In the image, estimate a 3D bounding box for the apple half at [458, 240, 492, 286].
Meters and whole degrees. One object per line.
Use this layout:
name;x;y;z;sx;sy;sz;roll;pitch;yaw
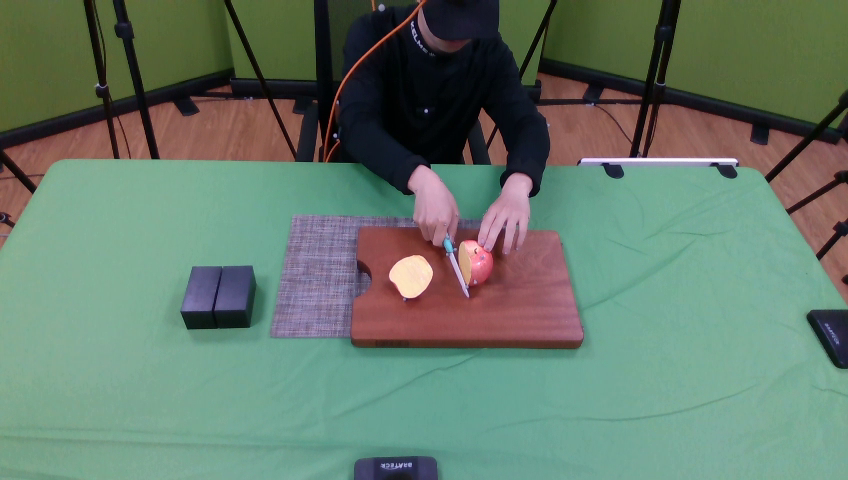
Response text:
apple half;0.095;0.043;1.092;0.053;0.075;0.080;-5;44;-14

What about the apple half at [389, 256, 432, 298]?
apple half;-0.019;0.069;1.080;0.081;0.033;0.081;-6;62;12

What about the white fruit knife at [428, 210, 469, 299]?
white fruit knife;0.047;0.022;1.127;0.016;0.027;0.206;-12;58;-17
